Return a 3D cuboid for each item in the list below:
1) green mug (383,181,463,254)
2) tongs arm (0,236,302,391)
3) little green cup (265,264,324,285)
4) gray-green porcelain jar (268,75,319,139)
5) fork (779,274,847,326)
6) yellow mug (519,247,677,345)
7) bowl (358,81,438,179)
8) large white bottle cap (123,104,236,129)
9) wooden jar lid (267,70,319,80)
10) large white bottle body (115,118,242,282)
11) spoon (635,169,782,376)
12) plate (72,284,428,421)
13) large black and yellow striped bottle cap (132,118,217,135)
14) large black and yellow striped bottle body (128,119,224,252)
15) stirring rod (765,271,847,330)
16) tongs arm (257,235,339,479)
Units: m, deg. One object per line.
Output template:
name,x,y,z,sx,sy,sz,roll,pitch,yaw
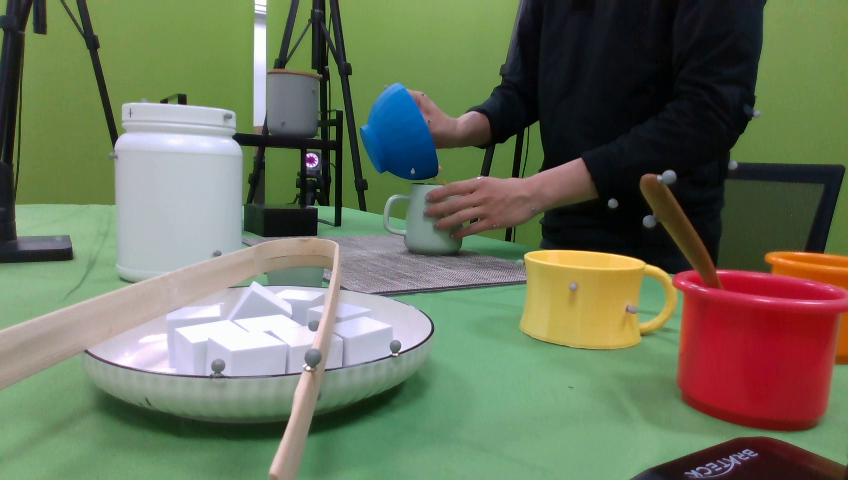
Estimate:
green mug,-0.001,-0.036,0.921,0.126,0.105,0.092,0,8,-16
tongs arm,-0.157,0.037,0.347,0.028,0.028,0.388,-2,8,11
little green cup,-0.134,0.034,0.628,0.061,0.038,0.061,3,6,0
gray-green porcelain jar,-0.277,-0.279,1.280,0.106,0.126,0.106,2,8,0
fork,0.332,0.019,0.443,0.028,0.018,0.207,-3,-35,-16
yellow mug,0.148,0.045,0.513,0.131,0.064,0.100,3,7,0
bowl,-0.047,-0.150,0.900,0.077,0.151,0.151,-26,14,-10
large white bottle cap,-0.266,-0.134,0.663,0.115,0.018,0.115,3,7,0
wooden jar lid,-0.275,-0.339,1.271,0.108,0.020,0.108,5,6,0
large white bottle body,-0.270,-0.051,0.673,0.131,0.184,0.130,2,8,0
spoon,0.161,0.026,0.346,0.041,0.194,0.021,10,56,53
plate,-0.102,0.067,0.381,0.208,0.039,0.207,3,7,0
large black and yellow striped bottle cap,-0.359,-0.164,0.875,0.115,0.019,0.115,2,6,0
large black and yellow striped bottle body,-0.361,-0.081,0.887,0.131,0.184,0.130,2,8,0
stirring rod,0.352,0.020,0.481,0.176,0.006,0.014,-40,-8,17
tongs arm,-0.074,0.040,0.345,0.051,0.026,0.384,-1,10,-3
